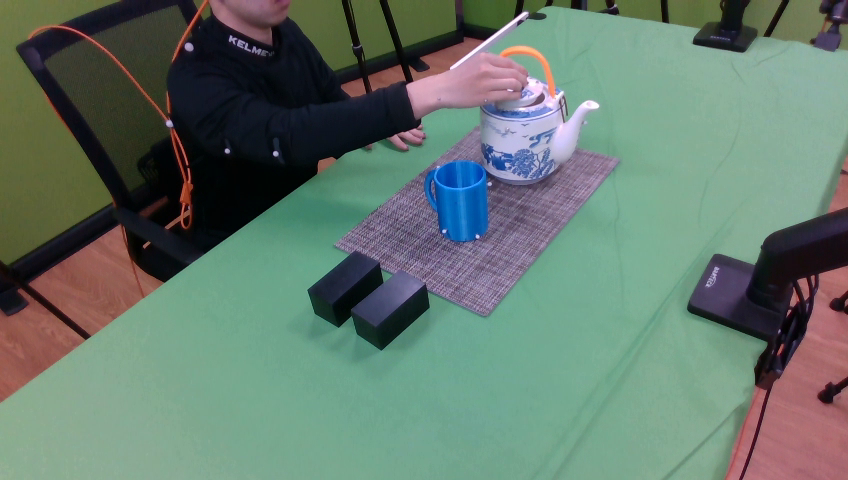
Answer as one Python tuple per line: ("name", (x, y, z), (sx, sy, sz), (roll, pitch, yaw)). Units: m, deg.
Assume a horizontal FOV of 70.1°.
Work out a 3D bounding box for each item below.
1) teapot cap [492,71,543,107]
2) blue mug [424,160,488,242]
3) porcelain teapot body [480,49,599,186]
("teapot cap", (0.153, -0.251, 0.988), (0.085, 0.044, 0.085), (-3, 41, 3))
("blue mug", (0.047, -0.067, 0.971), (0.115, 0.106, 0.082), (22, 49, 30))
("porcelain teapot body", (0.193, -0.208, 1.023), (0.204, 0.226, 0.145), (16, 46, 25))
